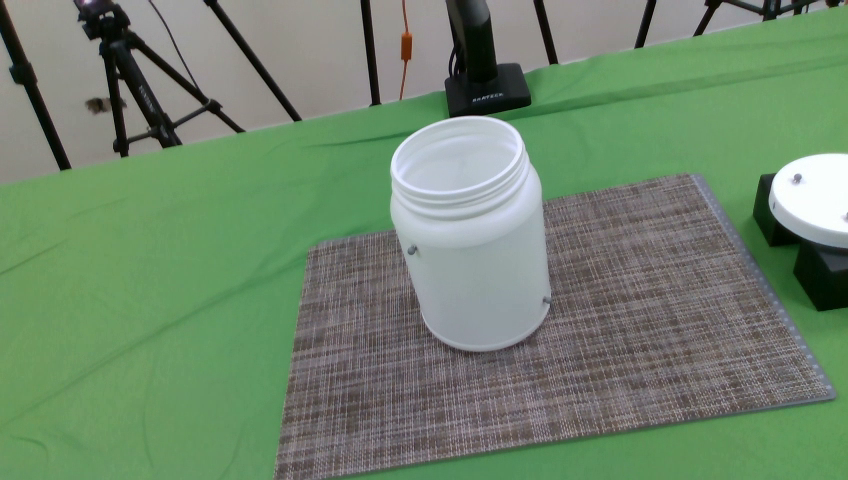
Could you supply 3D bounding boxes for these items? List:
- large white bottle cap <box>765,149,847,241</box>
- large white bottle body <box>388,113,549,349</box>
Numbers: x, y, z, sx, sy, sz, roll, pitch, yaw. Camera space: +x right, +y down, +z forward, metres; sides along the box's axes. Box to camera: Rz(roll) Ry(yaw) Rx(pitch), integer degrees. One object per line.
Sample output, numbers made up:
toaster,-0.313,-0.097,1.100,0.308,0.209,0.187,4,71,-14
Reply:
large white bottle cap,0.369,-0.042,0.538,0.115,0.018,0.113,-9,41,8
large white bottle body,0.041,-0.006,0.543,0.130,0.186,0.129,-8,42,8
